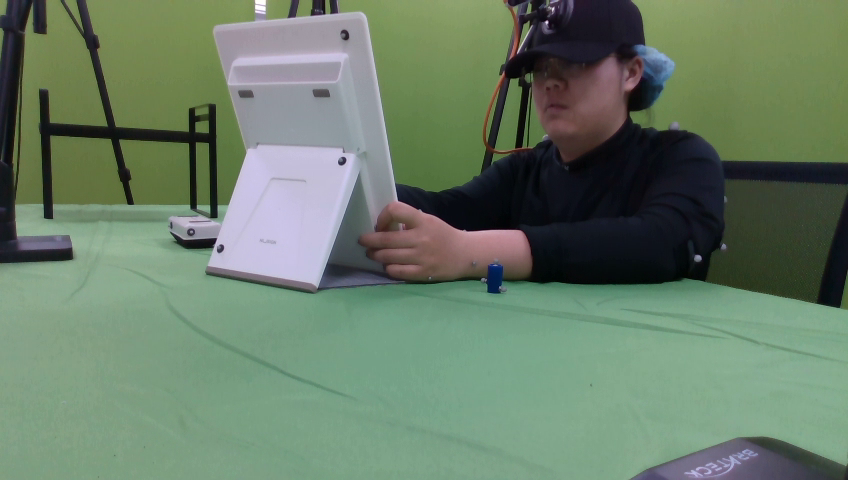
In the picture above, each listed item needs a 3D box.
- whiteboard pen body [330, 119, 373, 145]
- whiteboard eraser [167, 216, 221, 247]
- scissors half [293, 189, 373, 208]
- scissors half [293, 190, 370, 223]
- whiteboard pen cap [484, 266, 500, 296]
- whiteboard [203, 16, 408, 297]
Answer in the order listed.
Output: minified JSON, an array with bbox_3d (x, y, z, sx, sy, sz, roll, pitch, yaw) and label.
[{"bbox_3d":[-0.093,-0.137,0.774,0.017,0.017,0.141,5,21,13],"label":"whiteboard pen body"},{"bbox_3d":[-0.350,-0.013,0.920,0.056,0.042,0.112,0,7,-35],"label":"whiteboard eraser"},{"bbox_3d":[-0.201,-0.096,1.332,0.175,0.040,0.013,5,18,-4],"label":"scissors half"},{"bbox_3d":[-0.205,-0.077,1.338,0.175,0.040,0.013,22,11,-8],"label":"scissors half"},{"bbox_3d":[0.075,0.046,0.668,0.018,0.033,0.018,3,7,0],"label":"whiteboard pen cap"},{"bbox_3d":[-0.166,-0.072,0.669,0.216,0.305,0.144,8,30,30],"label":"whiteboard"}]
